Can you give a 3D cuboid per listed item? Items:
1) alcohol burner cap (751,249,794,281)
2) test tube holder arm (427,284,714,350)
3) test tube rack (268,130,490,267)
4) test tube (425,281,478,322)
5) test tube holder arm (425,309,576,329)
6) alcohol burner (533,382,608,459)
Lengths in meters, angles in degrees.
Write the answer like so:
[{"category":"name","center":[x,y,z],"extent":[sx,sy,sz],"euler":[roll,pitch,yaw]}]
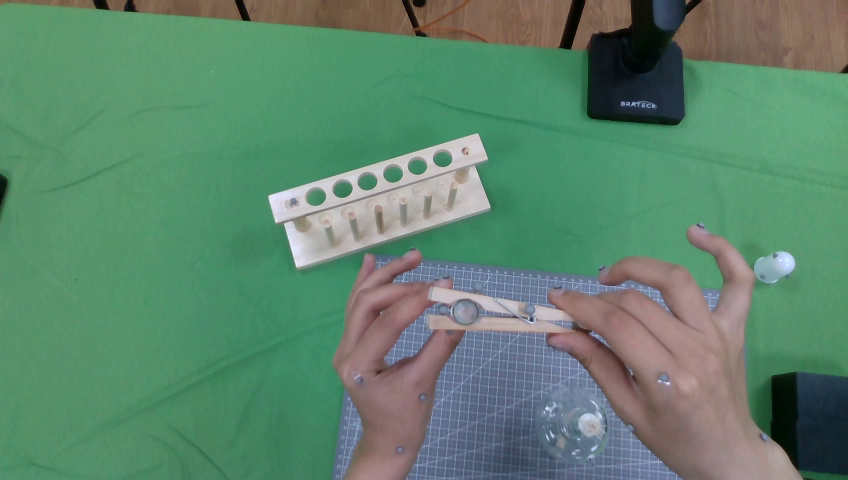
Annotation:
[{"category":"alcohol burner cap","center":[0.409,0.028,0.707],"extent":[0.034,0.048,0.033],"euler":[0,72,0]},{"category":"test tube holder arm","center":[0.089,0.046,0.357],"extent":[0.179,0.015,0.013],"euler":[10,90,-10]},{"category":"test tube rack","center":[-0.045,-0.046,0.698],"extent":[0.242,0.085,0.066],"euler":[-17,74,-6]},{"category":"test tube","center":[0.016,0.040,0.412],"extent":[0.017,0.150,0.017],"euler":[0,90,-6]},{"category":"test tube holder arm","center":[0.045,0.046,0.349],"extent":[0.088,0.015,0.010],"euler":[2,91,-10]},{"category":"alcohol burner","center":[0.153,0.184,0.618],"extent":[0.078,0.119,0.077],"euler":[1,75,-2]}]
